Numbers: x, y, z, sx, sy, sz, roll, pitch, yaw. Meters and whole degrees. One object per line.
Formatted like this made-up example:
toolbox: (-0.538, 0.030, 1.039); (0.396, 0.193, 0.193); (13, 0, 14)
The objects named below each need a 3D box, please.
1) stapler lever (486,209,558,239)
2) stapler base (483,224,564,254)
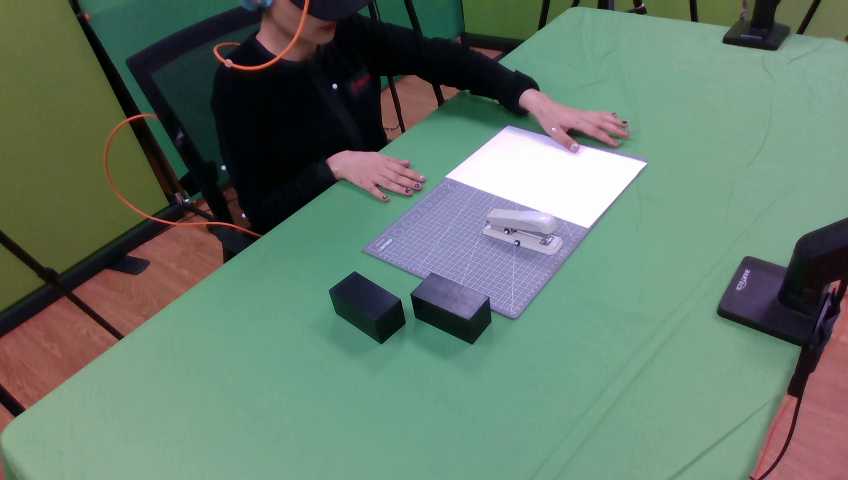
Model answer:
stapler lever: (0.153, -0.032, 0.947); (0.117, 0.040, 0.027); (17, 45, 31)
stapler base: (0.158, -0.012, 0.962); (0.129, 0.024, 0.041); (17, 45, 31)
